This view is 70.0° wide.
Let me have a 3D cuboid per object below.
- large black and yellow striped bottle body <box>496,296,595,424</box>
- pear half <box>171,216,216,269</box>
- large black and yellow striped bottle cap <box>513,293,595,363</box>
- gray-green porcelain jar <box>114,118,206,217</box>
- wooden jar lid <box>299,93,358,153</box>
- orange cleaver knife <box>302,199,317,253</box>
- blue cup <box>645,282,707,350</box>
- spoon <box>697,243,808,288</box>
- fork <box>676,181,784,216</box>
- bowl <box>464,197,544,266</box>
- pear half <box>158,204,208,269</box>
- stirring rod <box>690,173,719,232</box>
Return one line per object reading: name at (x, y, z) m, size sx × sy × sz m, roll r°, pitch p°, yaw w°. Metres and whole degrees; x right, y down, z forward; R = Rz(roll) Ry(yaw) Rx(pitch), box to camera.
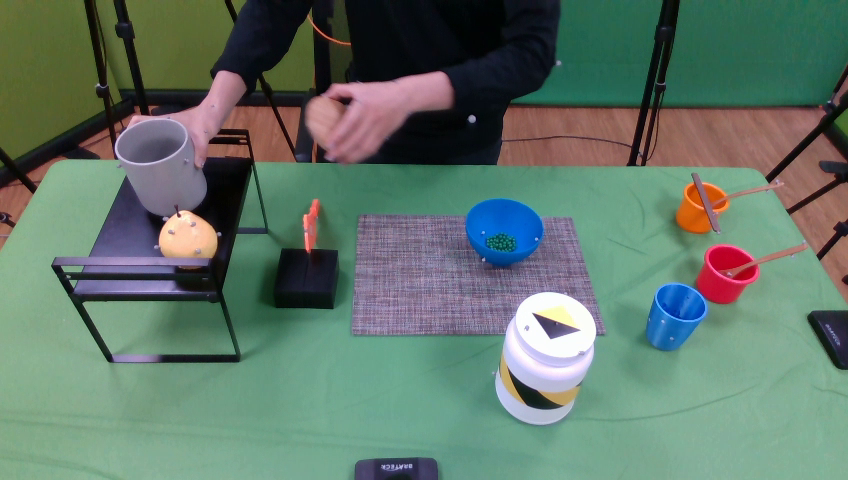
large black and yellow striped bottle body at (0.183, 0.182, 0.923) m, size 0.131 × 0.185 × 0.130 m, roll 2°, pitch 46°, yaw -2°
pear half at (-0.323, 0.007, 0.867) m, size 0.031 × 0.088 × 0.070 m, roll 24°, pitch 46°, yaw 20°
large black and yellow striped bottle cap at (0.186, 0.123, 0.863) m, size 0.115 × 0.019 × 0.114 m, roll 3°, pitch 45°, yaw -3°
gray-green porcelain jar at (-0.404, -0.107, 0.943) m, size 0.106 × 0.127 × 0.105 m, roll 1°, pitch 51°, yaw -1°
wooden jar lid at (-0.151, -0.179, 0.944) m, size 0.109 × 0.021 × 0.107 m, roll 31°, pitch 42°, yaw -32°
orange cleaver knife at (-0.219, -0.031, 1.168) m, size 0.012 × 0.077 × 0.210 m, roll -4°, pitch 17°, yaw -3°
blue cup at (0.425, 0.136, 1.042) m, size 0.093 × 0.101 × 0.092 m, roll 1°, pitch 45°, yaw -1°
spoon at (0.601, 0.045, 1.115) m, size 0.194 × 0.022 × 0.041 m, roll -29°, pitch 34°, yaw 30°
fork at (0.618, -0.083, 1.235) m, size 0.207 × 0.019 × 0.028 m, roll -23°, pitch 21°, yaw 38°
bowl at (0.149, -0.004, 1.167) m, size 0.151 × 0.077 × 0.150 m, roll 2°, pitch 46°, yaw -2°
pear half at (-0.352, -0.015, 0.873) m, size 0.056 × 0.110 × 0.076 m, roll 25°, pitch 45°, yaw 19°
stirring rod at (0.566, -0.079, 1.225) m, size 0.014 × 0.006 × 0.175 m, roll 2°, pitch 45°, yaw 2°
